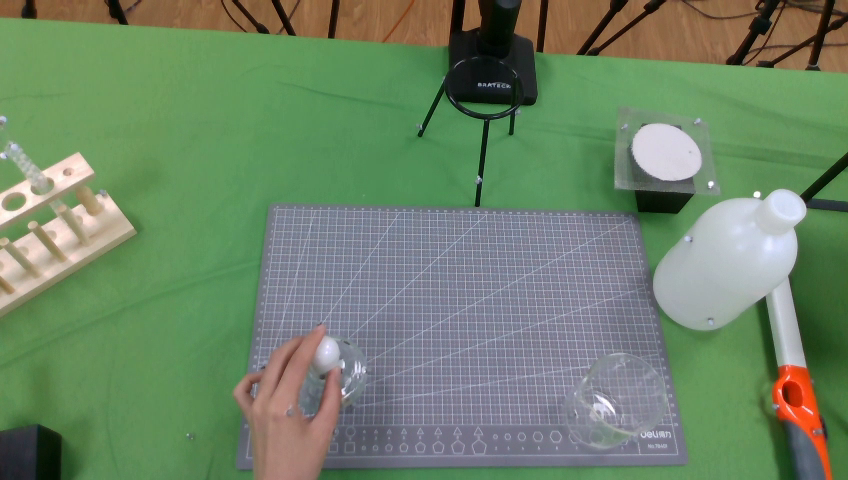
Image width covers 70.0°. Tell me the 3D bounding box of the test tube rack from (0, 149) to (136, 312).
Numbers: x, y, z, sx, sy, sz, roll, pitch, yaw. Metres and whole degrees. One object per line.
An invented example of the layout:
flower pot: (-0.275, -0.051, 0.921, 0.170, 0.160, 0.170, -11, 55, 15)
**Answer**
test tube rack: (-0.436, 0.014, 0.618, 0.242, 0.086, 0.066, -37, 71, -21)

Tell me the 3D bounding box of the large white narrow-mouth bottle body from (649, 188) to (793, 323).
large white narrow-mouth bottle body: (0.314, 0.008, 0.627, 0.102, 0.196, 0.101, 2, 62, -3)

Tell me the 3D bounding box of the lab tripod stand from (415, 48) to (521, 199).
lab tripod stand: (0.060, -0.144, 0.719, 0.148, 0.132, 0.147, 3, 63, -5)

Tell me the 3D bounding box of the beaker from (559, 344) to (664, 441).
beaker: (0.174, 0.153, 0.589, 0.084, 0.101, 0.073, -2, 62, -5)

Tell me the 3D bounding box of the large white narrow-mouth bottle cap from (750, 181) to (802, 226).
large white narrow-mouth bottle cap: (0.319, -0.034, 0.551, 0.038, 0.024, 0.037, 2, 62, -3)

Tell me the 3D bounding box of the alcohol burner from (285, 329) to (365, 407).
alcohol burner: (-0.094, 0.116, 0.577, 0.078, 0.120, 0.077, 3, 61, -5)

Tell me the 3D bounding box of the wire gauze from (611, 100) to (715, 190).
wire gauze: (0.288, -0.116, 0.739, 0.121, 0.011, 0.124, 8, 62, -1)

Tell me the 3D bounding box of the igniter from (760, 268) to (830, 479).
igniter: (0.397, 0.141, 0.659, 0.057, 0.025, 0.274, 12, 61, -10)

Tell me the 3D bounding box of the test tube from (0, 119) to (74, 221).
test tube: (-0.391, -0.066, 0.607, 0.017, 0.151, 0.017, 1, 56, -1)

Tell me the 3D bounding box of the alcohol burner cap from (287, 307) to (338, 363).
alcohol burner cap: (-0.096, 0.087, 0.538, 0.034, 0.034, 0.047, -30, 76, -18)
